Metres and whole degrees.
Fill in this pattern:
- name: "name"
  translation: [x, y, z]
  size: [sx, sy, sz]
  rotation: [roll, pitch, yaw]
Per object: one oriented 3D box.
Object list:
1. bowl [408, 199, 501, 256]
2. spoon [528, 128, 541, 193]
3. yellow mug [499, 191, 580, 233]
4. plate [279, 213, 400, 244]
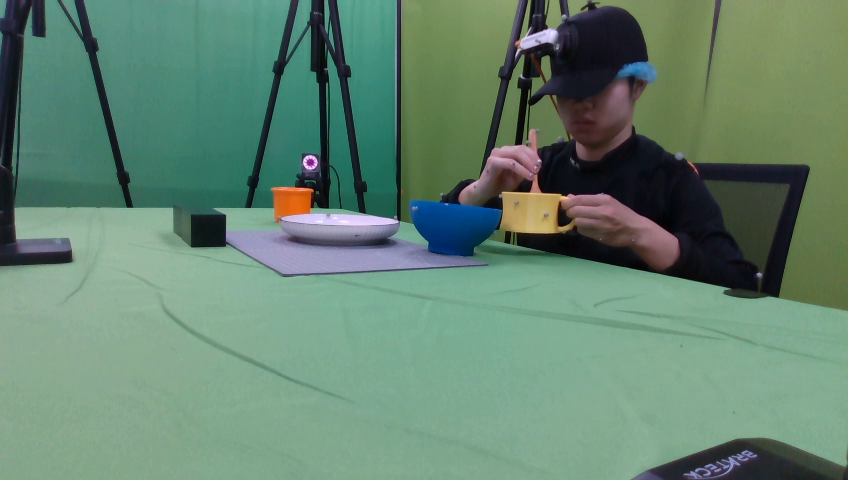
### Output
- name: "bowl"
  translation: [0.045, -0.019, 0.967]
  size: [0.151, 0.077, 0.151]
  rotation: [6, 5, 0]
- name: "spoon"
  translation: [0.185, -0.110, 1.025]
  size: [0.041, 0.193, 0.022]
  rotation: [-10, -34, 21]
- name: "yellow mug"
  translation: [0.192, -0.046, 1.007]
  size: [0.130, 0.064, 0.100]
  rotation: [5, 5, 16]
- name: "plate"
  translation: [-0.147, -0.020, 1.060]
  size: [0.209, 0.038, 0.209]
  rotation: [3, 7, 0]
